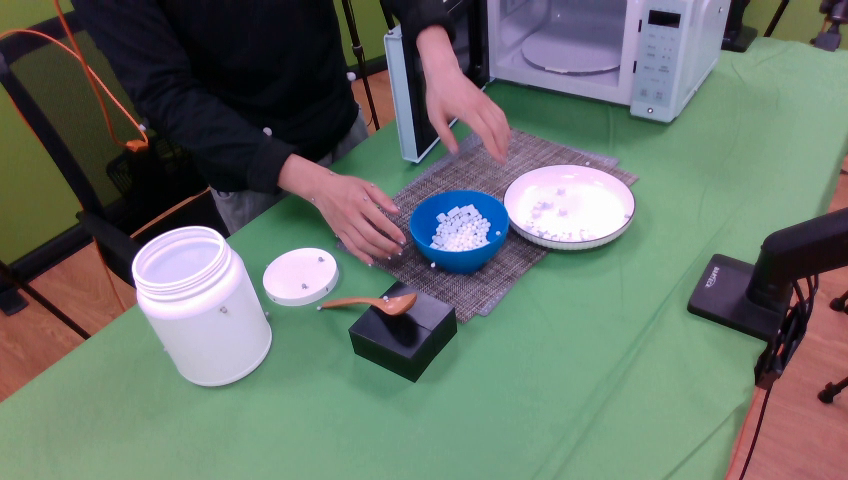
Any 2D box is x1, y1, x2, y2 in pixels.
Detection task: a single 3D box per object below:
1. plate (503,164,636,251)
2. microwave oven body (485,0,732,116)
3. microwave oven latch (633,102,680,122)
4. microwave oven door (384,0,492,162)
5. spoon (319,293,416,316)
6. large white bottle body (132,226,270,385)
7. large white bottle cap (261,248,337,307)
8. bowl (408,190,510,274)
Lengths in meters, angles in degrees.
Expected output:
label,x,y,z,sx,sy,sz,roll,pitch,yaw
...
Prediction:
label,x,y,z,sx,sy,sz,roll,pitch,yaw
plate,0.231,-0.050,0.976,0.209,0.038,0.208,-3,41,3
microwave oven body,0.377,-0.462,1.267,0.438,0.261,0.327,21,49,30
microwave oven latch,0.444,-0.249,1.157,0.078,0.029,0.030,21,49,30
microwave oven door,0.041,-0.347,1.173,0.039,0.245,0.356,15,45,24
spoon,-0.082,0.086,0.826,0.192,0.022,0.041,-3,37,41
large white bottle body,-0.286,0.085,0.783,0.130,0.185,0.130,-4,41,4
large white bottle cap,-0.193,0.056,0.933,0.115,0.018,0.114,-5,42,5
bowl,0.055,-0.002,0.914,0.151,0.077,0.150,-4,40,4
